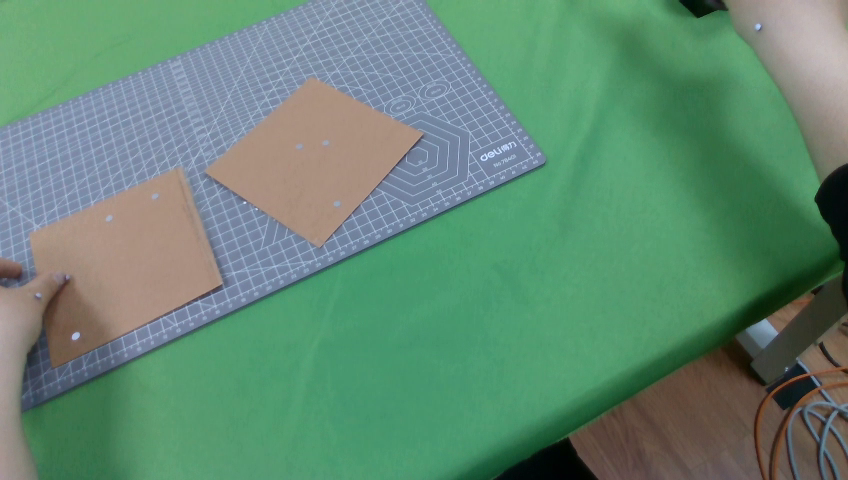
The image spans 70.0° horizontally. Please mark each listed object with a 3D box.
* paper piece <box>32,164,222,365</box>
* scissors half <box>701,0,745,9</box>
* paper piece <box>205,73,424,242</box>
[{"bbox_3d":[-0.239,0.011,0.480,0.138,0.009,0.134,-27,55,-6],"label":"paper piece"},{"bbox_3d":[0.193,-0.244,0.468,0.040,0.013,0.173,-21,69,0],"label":"scissors half"},{"bbox_3d":[-0.093,-0.077,0.513,0.135,0.004,0.135,31,68,22],"label":"paper piece"}]
